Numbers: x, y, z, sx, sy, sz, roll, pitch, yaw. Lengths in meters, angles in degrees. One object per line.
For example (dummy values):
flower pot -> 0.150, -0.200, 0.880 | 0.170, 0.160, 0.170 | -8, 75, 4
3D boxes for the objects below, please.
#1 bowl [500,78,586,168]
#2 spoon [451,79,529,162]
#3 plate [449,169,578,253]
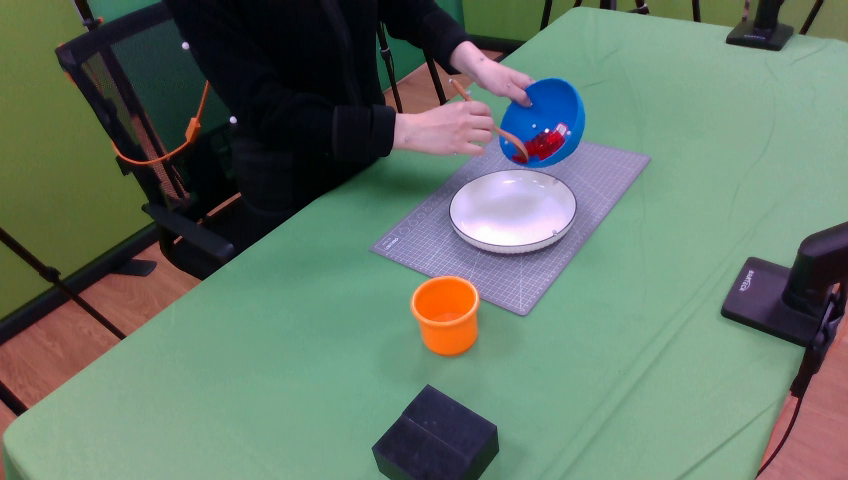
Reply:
bowl -> 0.207, -0.179, 0.992 | 0.150, 0.077, 0.151 | -18, 62, 39
spoon -> 0.105, -0.181, 0.931 | 0.021, 0.195, 0.041 | -47, 34, 14
plate -> 0.147, -0.044, 0.994 | 0.209, 0.038, 0.208 | -5, 40, 5
